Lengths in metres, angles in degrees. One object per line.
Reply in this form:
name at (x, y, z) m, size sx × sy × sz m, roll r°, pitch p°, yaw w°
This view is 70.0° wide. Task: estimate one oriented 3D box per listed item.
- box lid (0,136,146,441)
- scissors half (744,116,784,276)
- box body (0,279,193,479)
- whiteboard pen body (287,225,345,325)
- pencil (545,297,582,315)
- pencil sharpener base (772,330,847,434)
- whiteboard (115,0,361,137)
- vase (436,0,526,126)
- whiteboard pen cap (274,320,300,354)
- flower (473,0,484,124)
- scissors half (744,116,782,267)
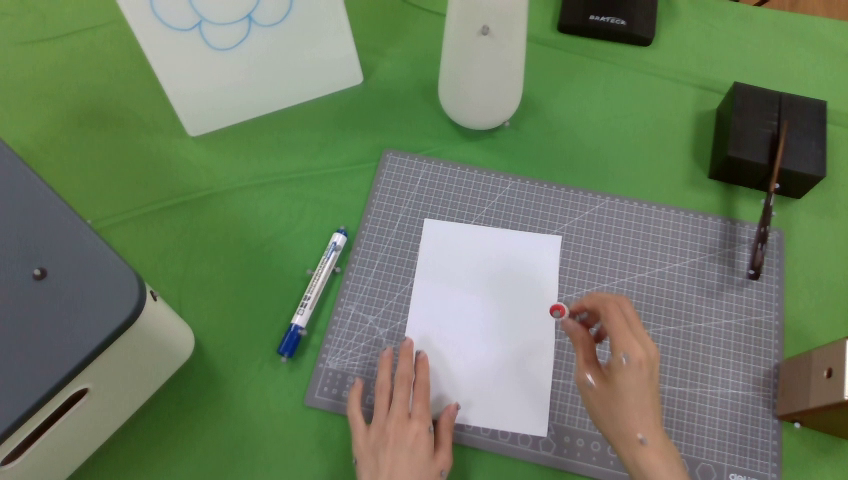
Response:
box lid at (-0.430, 0.020, 0.481) m, size 0.369 × 0.015 × 0.263 m, roll 38°, pitch 72°, yaw 15°
scissors half at (0.358, -0.047, 0.632) m, size 0.012 × 0.040 × 0.175 m, roll 12°, pitch 86°, yaw 31°
box body at (-0.427, 0.051, 0.549) m, size 0.362 × 0.161 × 0.253 m, roll 38°, pitch 72°, yaw 15°
whiteboard pen body at (-0.116, 0.046, 0.627) m, size 0.017 × 0.017 × 0.140 m, roll 19°, pitch 66°, yaw 9°
pencil at (0.115, 0.055, 0.484) m, size 0.012 × 0.195 × 0.012 m, roll -3°, pitch 82°, yaw 19°
pencil sharpener base at (0.377, 0.130, 0.540) m, size 0.076 × 0.107 × 0.061 m, roll 16°, pitch 67°, yaw 4°
whiteboard at (-0.219, -0.305, 0.654) m, size 0.217 × 0.308 × 0.142 m, roll -20°, pitch 49°, yaw -7°
vase at (0.060, -0.209, 0.637) m, size 0.098 × 0.201 × 0.097 m, roll 0°, pitch 65°, yaw 1°
whiteboard pen cap at (-0.135, 0.096, 0.604) m, size 0.018 × 0.018 × 0.033 m, roll 18°, pitch 64°, yaw 8°
flower at (0.055, -0.256, 0.566) m, size 0.044 × 0.365 × 0.038 m, roll 6°, pitch 49°, yaw 7°
scissors half at (0.349, -0.053, 0.615) m, size 0.013 × 0.040 × 0.174 m, roll 13°, pitch 69°, yaw 26°
